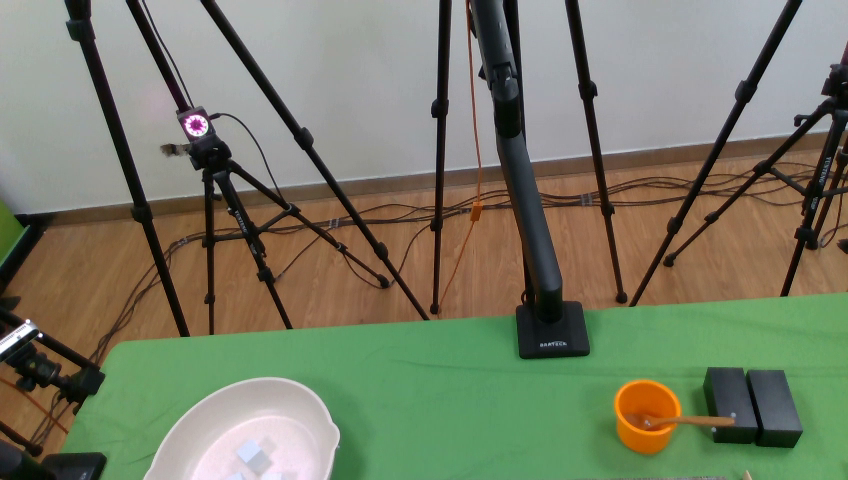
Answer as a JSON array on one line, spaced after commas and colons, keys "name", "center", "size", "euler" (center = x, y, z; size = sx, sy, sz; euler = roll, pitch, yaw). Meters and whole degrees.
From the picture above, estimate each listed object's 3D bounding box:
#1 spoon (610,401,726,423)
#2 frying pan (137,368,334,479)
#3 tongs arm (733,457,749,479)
[{"name": "spoon", "center": [0.338, 0.242, 0.856], "size": [0.021, 0.193, 0.041], "euler": [50, 60, -4]}, {"name": "frying pan", "center": [-0.267, 0.399, 0.860], "size": [0.307, 0.104, 0.482], "euler": [-14, 36, 0]}, {"name": "tongs arm", "center": [0.466, 0.441, 0.716], "size": [0.028, 0.028, 0.383], "euler": [-10, 44, -1]}]
